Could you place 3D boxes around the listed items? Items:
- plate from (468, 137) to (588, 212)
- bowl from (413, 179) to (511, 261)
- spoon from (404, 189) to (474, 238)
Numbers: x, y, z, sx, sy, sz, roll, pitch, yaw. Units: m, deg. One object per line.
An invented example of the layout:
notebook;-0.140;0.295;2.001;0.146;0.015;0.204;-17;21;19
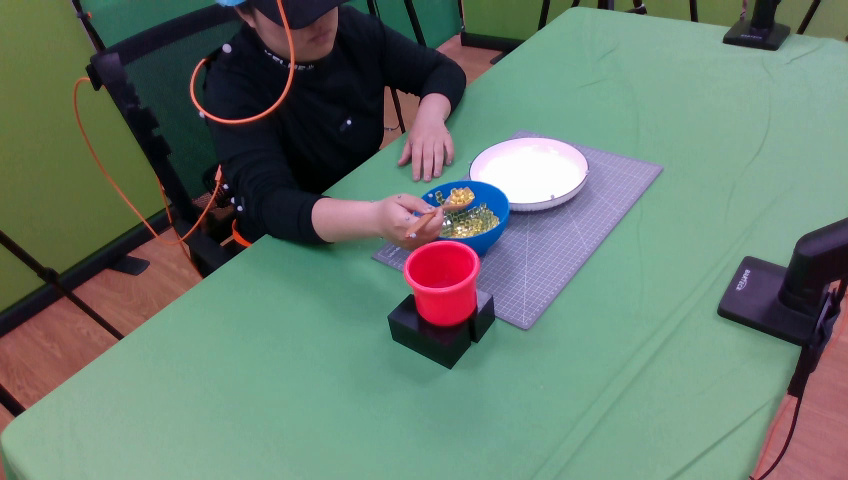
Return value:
plate;0.182;-0.112;1.064;0.207;0.039;0.206;-5;40;5
bowl;0.062;-0.021;0.947;0.151;0.077;0.150;-5;40;5
spoon;0.020;-0.039;0.845;0.041;0.021;0.194;11;22;26
